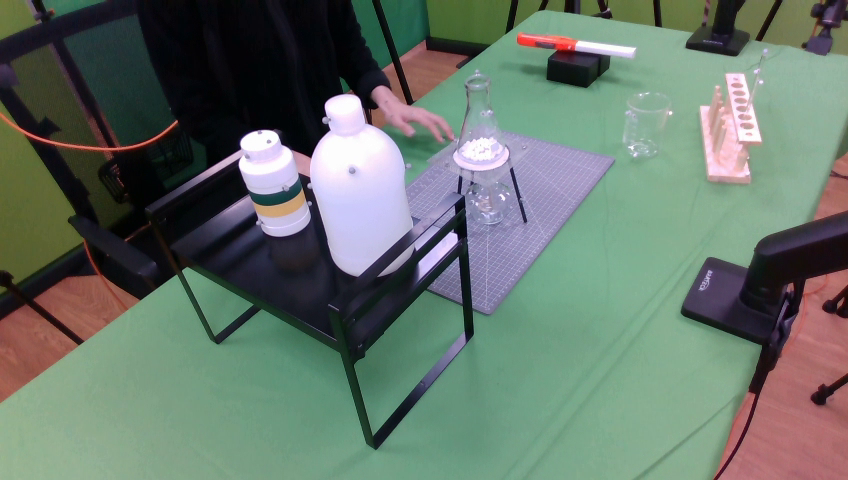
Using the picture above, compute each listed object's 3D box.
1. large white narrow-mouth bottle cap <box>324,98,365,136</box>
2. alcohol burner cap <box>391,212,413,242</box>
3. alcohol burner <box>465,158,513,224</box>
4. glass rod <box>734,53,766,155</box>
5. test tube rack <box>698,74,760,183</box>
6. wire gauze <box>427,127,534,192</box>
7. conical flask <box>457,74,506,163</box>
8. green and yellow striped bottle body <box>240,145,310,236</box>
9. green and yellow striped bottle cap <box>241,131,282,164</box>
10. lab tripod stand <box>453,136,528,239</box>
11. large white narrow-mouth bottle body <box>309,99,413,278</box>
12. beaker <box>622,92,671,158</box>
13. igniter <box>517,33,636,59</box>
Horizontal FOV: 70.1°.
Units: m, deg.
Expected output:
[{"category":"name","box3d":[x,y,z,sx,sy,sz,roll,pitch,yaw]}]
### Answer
[{"category":"large white narrow-mouth bottle cap","box3d":[-0.076,-0.119,0.586,0.038,0.024,0.037,-3,42,3]},{"category":"alcohol burner cap","box3d":[-0.038,-0.023,0.989,0.034,0.048,0.033,-5,40,5]},{"category":"alcohol burner","box3d":[0.105,-0.085,0.987,0.078,0.119,0.077,-5,43,5]},{"category":"glass rod","box3d":[0.540,-0.220,1.007,0.008,0.201,0.008,-5,46,6]},{"category":"test tube rack","box3d":[0.547,-0.208,1.095,0.066,0.085,0.242,6,42,15]},{"category":"wire gauze","box3d":[0.086,-0.130,0.925,0.124,0.011,0.122,28,54,31]},{"category":"conical flask","box3d":[0.082,-0.181,0.893,0.075,0.122,0.075,-4,41,4]},{"category":"green and yellow striped bottle body","box3d":[-0.181,-0.068,0.729,0.063,0.120,0.063,-4,40,4]},{"category":"green and yellow striped bottle cap","box3d":[-0.187,-0.107,0.695,0.045,0.020,0.045,-3,39,3]},{"category":"lab tripod stand","box3d":[0.095,-0.086,0.974,0.148,0.132,0.147,-4,43,4]},{"category":"large white narrow-mouth bottle body","box3d":[-0.068,-0.057,0.645,0.102,0.195,0.101,-3,42,4]},{"category":"beaker","box3d":[0.402,-0.209,1.106,0.074,0.101,0.083,-9,40,-2]},{"category":"igniter","box3d":[0.336,-0.441,1.369,0.275,0.025,0.057,17,41,24]}]
